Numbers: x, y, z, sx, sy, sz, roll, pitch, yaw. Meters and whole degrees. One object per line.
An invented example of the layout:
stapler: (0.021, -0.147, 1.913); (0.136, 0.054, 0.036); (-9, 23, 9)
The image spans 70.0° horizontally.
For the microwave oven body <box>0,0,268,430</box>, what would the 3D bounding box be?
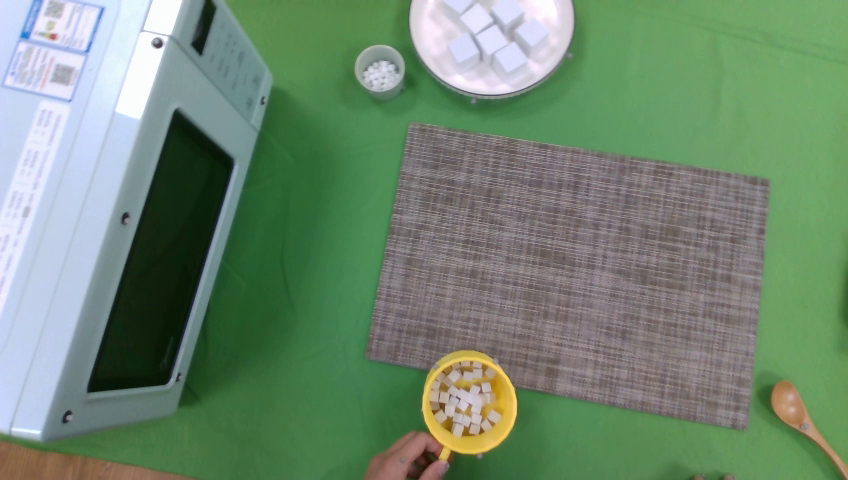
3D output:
microwave oven body: (-0.400, -0.068, 0.639); (0.326, 0.261, 0.440); (13, 82, 4)

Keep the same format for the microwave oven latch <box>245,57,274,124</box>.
microwave oven latch: (-0.209, -0.186, 0.749); (0.030, 0.029, 0.079); (14, 82, 4)

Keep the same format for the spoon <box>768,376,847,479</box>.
spoon: (0.452, 0.237, 0.682); (0.041, 0.022, 0.193); (-33, 80, -21)

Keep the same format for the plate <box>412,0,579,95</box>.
plate: (0.090, -0.279, 0.773); (0.207, 0.039, 0.207); (0, 81, 2)

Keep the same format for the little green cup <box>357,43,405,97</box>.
little green cup: (-0.053, -0.212, 0.765); (0.061, 0.039, 0.061); (0, 81, 1)

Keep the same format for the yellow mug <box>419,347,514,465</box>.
yellow mug: (0.039, 0.185, 0.662); (0.100, 0.064, 0.130); (25, 88, 2)

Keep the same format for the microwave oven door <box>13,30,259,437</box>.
microwave oven door: (-0.269, 0.006, 0.618); (0.039, 0.244, 0.354); (13, 81, 5)
